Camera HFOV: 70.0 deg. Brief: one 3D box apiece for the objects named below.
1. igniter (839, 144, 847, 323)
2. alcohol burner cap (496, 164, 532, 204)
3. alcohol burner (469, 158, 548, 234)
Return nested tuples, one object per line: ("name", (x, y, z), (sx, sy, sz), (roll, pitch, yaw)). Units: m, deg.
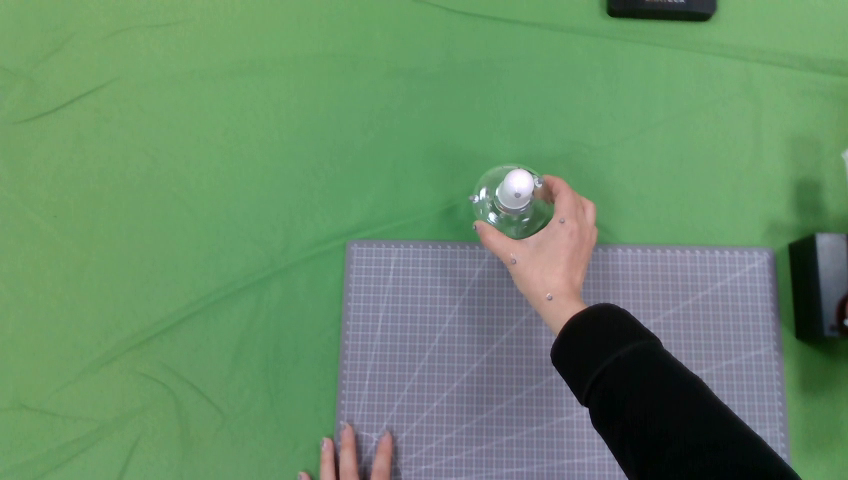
("igniter", (0.423, 0.040, 0.569), (0.057, 0.025, 0.275), (2, 77, 4))
("alcohol burner cap", (0.085, -0.053, 0.556), (0.034, 0.048, 0.033), (0, 82, 1))
("alcohol burner", (0.083, -0.047, 0.586), (0.078, 0.119, 0.077), (0, 79, 2))
